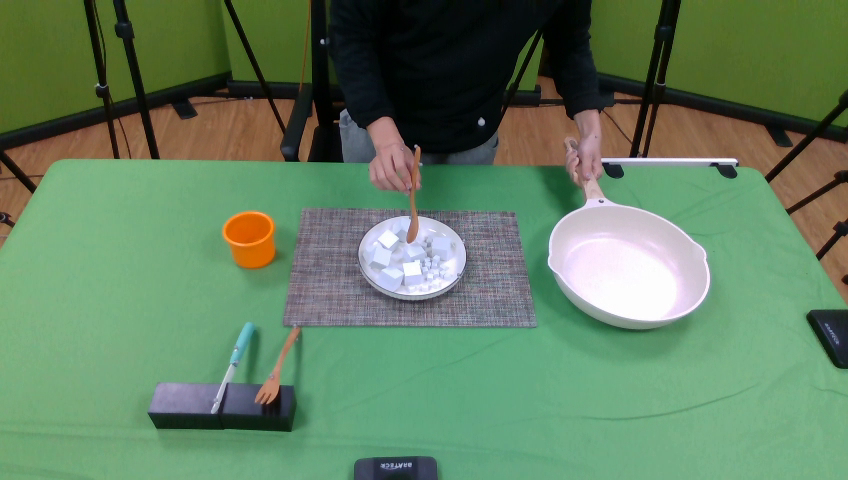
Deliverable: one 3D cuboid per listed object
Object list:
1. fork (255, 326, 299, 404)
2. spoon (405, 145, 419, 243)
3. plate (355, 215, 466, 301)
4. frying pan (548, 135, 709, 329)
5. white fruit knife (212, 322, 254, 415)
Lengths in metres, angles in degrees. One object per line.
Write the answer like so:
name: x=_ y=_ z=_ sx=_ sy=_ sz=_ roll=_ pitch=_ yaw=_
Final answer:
fork: x=-0.226 y=0.192 z=0.955 sx=0.028 sy=0.019 sz=0.206 roll=0 pitch=27 yaw=4
spoon: x=-0.021 y=-0.078 z=1.084 sx=0.022 sy=0.194 sz=0.041 roll=-6 pitch=34 yaw=-12
plate: x=-0.025 y=0.038 z=1.143 sx=0.208 sy=0.039 sz=0.206 roll=3 pitch=46 yaw=-2
frying pan: x=0.360 y=-0.033 z=1.200 sx=0.307 sy=0.103 sz=0.484 roll=-4 pitch=55 yaw=-9
white fruit knife: x=-0.298 y=0.193 z=0.947 sx=0.016 sy=0.027 sz=0.206 roll=1 pitch=31 yaw=0
